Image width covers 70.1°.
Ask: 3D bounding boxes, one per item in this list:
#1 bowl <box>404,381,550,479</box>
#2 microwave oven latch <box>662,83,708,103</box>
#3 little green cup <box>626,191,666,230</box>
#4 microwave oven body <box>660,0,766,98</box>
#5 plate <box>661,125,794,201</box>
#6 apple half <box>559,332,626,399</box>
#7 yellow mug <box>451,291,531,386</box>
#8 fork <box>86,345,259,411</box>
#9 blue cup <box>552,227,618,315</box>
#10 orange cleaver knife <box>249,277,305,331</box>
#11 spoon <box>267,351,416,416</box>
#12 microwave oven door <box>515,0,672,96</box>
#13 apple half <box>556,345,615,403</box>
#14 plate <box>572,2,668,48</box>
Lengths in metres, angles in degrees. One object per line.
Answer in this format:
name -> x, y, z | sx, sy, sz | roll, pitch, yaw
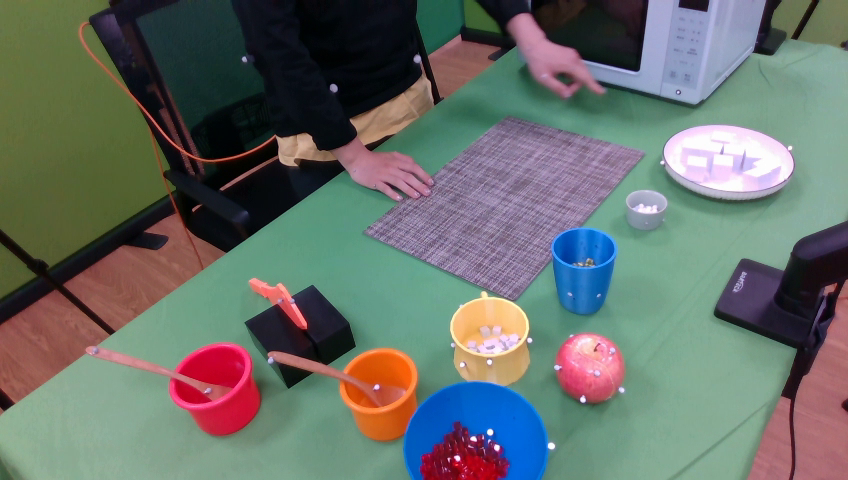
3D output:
bowl -> 0.058, 0.235, 0.645 | 0.151, 0.077, 0.150 | -4, 39, 4
microwave oven latch -> 0.518, -0.296, 1.204 | 0.078, 0.029, 0.030 | 28, 52, 35
little green cup -> 0.352, -0.046, 0.963 | 0.061, 0.039, 0.061 | -4, 40, 4
microwave oven body -> 0.472, -0.513, 1.317 | 0.438, 0.261, 0.327 | 26, 51, 34
plate -> 0.513, -0.128, 1.035 | 0.207, 0.039, 0.206 | -4, 40, 4
apple half -> 0.209, 0.147, 0.730 | 0.080, 0.075, 0.053 | 26, 48, 38
yellow mug -> 0.086, 0.120, 0.786 | 0.100, 0.064, 0.130 | -7, 39, 1
fork -> -0.298, 0.167, 0.728 | 0.209, 0.018, 0.028 | 29, 46, -23
blue cup -> 0.218, 0.047, 0.825 | 0.092, 0.100, 0.092 | -6, 40, 5
orange cleaver knife -> -0.210, 0.088, 0.855 | 0.012, 0.077, 0.210 | -28, 15, -25
spoon -> -0.091, 0.163, 0.699 | 0.021, 0.195, 0.041 | -44, 30, 27
microwave oven door -> 0.344, -0.455, 1.259 | 0.353, 0.245, 0.039 | 26, 51, 33
apple half -> 0.181, 0.167, 0.709 | 0.080, 0.081, 0.033 | 29, 50, 35
plate -> 0.441, -0.483, 1.367 | 0.209, 0.038, 0.208 | -4, 41, 4
